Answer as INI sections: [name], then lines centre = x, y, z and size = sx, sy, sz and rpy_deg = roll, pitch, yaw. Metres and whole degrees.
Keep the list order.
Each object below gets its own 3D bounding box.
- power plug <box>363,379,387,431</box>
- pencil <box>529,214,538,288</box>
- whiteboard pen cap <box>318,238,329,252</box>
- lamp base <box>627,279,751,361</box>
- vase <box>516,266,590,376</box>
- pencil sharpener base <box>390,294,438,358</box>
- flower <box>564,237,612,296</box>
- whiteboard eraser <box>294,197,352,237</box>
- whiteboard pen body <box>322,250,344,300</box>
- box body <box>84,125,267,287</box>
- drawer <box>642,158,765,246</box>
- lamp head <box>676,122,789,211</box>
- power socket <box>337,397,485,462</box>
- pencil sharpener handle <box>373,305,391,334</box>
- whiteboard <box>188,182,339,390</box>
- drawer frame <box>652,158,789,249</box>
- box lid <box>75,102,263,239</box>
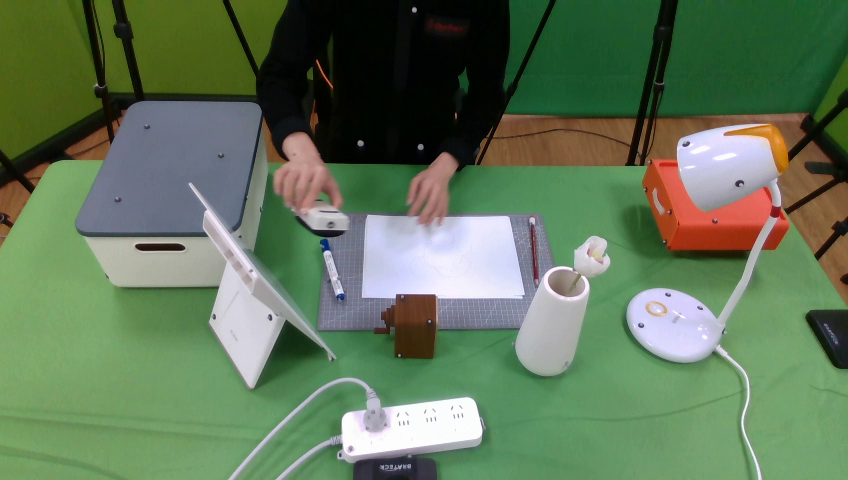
[power plug]
centre = -0.072, 0.252, 0.910
size = 0.035, 0.053, 0.072
rpy_deg = 3, 45, -1
[pencil]
centre = 0.219, 0.019, 1.202
size = 0.012, 0.012, 0.193
rpy_deg = 5, 48, 1
[whiteboard pen cap]
centre = -0.191, 0.013, 1.163
size = 0.018, 0.018, 0.033
rpy_deg = -12, 49, -15
[lamp base]
centre = 0.459, 0.100, 1.027
size = 0.178, 0.181, 0.160
rpy_deg = 27, 51, 17
[vase]
centre = 0.208, 0.132, 0.964
size = 0.098, 0.201, 0.097
rpy_deg = 3, 46, -3
[pencil sharpener base]
centre = -0.018, 0.142, 1.000
size = 0.077, 0.107, 0.061
rpy_deg = 1, 47, -2
[flower]
centre = 0.206, 0.088, 0.893
size = 0.038, 0.363, 0.044
rpy_deg = -17, 67, -9
[whiteboard eraser]
centre = -0.158, -0.036, 0.939
size = 0.056, 0.042, 0.112
rpy_deg = -4, 20, -30
[whiteboard pen body]
centre = -0.173, 0.056, 1.127
size = 0.017, 0.017, 0.140
rpy_deg = -12, 49, -16
[box body]
centre = -0.446, -0.088, 1.150
size = 0.254, 0.161, 0.361
rpy_deg = -1, 46, -5
[drawer]
centre = 0.566, -0.076, 1.211
size = 0.212, 0.073, 0.193
rpy_deg = 2, 45, -2
[lamp head]
centre = 0.423, -0.104, 0.819
size = 0.122, 0.113, 0.112
rpy_deg = -13, 33, 40
[power socket]
centre = -0.018, 0.285, 0.915
size = 0.227, 0.033, 0.071
rpy_deg = -5, 46, -8
[pencil sharpener handle]
centre = -0.069, 0.133, 0.989
size = 0.030, 0.068, 0.036
rpy_deg = 1, 48, -2
[whiteboard]
centre = -0.292, 0.096, 0.929
size = 0.144, 0.307, 0.216
rpy_deg = -38, 57, -10
[drawer frame]
centre = 0.572, -0.075, 1.214
size = 0.214, 0.083, 0.200
rpy_deg = 0, 45, -1
[box lid]
centre = -0.443, -0.138, 1.094
size = 0.263, 0.015, 0.369
rpy_deg = -1, 47, -5
